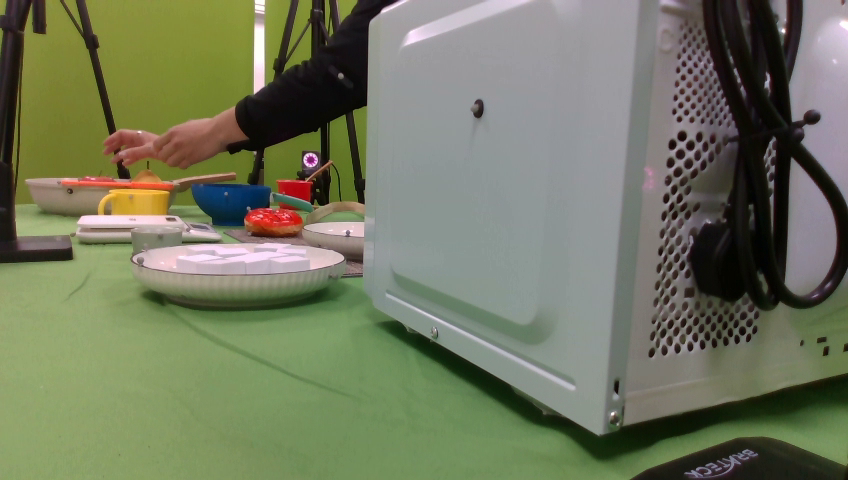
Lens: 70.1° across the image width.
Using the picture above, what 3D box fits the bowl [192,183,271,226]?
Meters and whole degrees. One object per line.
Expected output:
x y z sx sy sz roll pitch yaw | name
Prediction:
-0.382 -0.070 1.202 0.151 0.077 0.151 3 7 0 | bowl

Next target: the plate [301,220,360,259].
-0.077 -0.002 0.893 0.209 0.038 0.209 3 8 0 | plate

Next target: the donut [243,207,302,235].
-0.261 -0.032 1.043 0.099 0.048 0.099 4 9 0 | donut

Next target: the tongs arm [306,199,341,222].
-0.233 -0.070 1.414 0.028 0.028 0.387 -5 8 1 | tongs arm

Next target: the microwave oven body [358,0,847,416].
0.211 -0.047 0.474 0.444 0.260 0.324 -1 7 -28 | microwave oven body

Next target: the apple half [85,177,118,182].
-0.672 -0.096 1.268 0.082 0.081 0.032 -4 4 -39 | apple half

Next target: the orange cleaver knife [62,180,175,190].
-0.600 -0.110 1.193 0.212 0.012 0.077 1 8 -13 | orange cleaver knife

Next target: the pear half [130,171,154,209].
-0.640 -0.113 1.361 0.031 0.088 0.070 5 9 5 | pear half

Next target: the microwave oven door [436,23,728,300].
0.180 -0.073 0.621 0.358 0.243 0.039 -2 9 -29 | microwave oven door

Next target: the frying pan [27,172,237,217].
-0.624 -0.119 1.387 0.305 0.102 0.490 8 17 32 | frying pan

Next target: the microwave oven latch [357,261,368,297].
-0.019 0.033 0.531 0.079 0.029 0.030 -1 7 -27 | microwave oven latch

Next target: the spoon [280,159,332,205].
-0.317 -0.159 1.640 0.194 0.022 0.041 -49 32 -20 | spoon

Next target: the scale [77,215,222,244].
-0.434 -0.019 0.963 0.202 0.031 0.148 -1 9 -27 | scale

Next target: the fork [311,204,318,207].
-0.356 -0.105 1.526 0.208 0.018 0.028 16 -5 -41 | fork

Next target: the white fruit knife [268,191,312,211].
-0.364 -0.105 1.464 0.208 0.027 0.016 15 1 -34 | white fruit knife

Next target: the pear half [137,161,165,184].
-0.604 -0.121 1.354 0.056 0.110 0.076 5 10 6 | pear half

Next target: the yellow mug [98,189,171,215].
-0.519 -0.055 1.080 0.099 0.064 0.131 7 9 26 | yellow mug

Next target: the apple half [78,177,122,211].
-0.698 -0.099 1.298 0.081 0.074 0.053 -9 9 -39 | apple half

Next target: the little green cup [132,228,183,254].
-0.342 0.006 0.779 0.061 0.038 0.061 2 8 0 | little green cup

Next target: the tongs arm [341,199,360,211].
-0.148 -0.071 1.429 0.051 0.026 0.383 -4 9 -14 | tongs arm

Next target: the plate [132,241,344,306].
-0.187 0.033 0.625 0.208 0.039 0.207 2 8 0 | plate
